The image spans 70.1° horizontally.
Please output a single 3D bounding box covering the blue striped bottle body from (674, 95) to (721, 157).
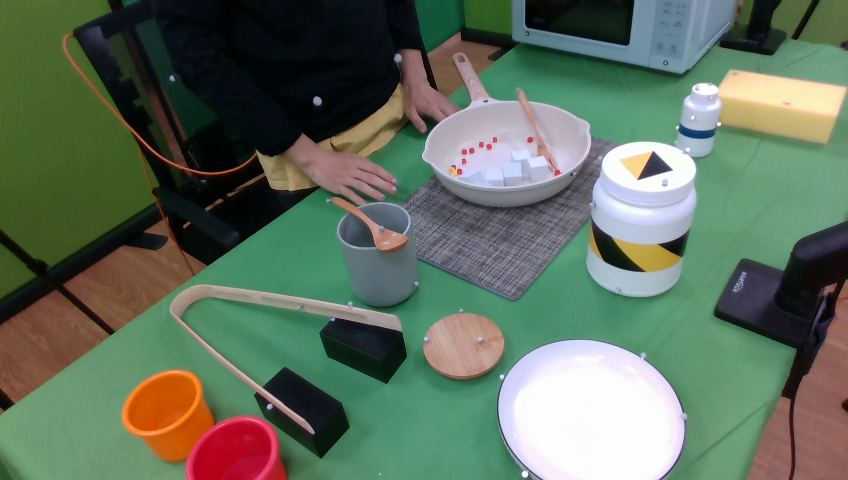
[{"bbox_3d":[0.486,-0.213,1.072,0.063,0.121,0.063,-4,41,4],"label":"blue striped bottle body"}]

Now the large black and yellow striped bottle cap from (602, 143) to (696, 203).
[{"bbox_3d":[0.289,-0.088,0.779,0.115,0.019,0.114,-5,39,4],"label":"large black and yellow striped bottle cap"}]

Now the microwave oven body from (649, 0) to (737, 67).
[{"bbox_3d":[0.475,-0.602,1.411,0.438,0.261,0.327,23,50,32],"label":"microwave oven body"}]

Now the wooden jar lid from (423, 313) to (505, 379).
[{"bbox_3d":[0.053,0.142,0.800,0.108,0.021,0.108,-4,39,4],"label":"wooden jar lid"}]

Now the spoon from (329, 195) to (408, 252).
[{"bbox_3d":[-0.082,-0.029,0.828,0.042,0.022,0.192,-32,43,-20],"label":"spoon"}]

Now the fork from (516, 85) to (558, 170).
[{"bbox_3d":[0.208,-0.213,1.134,0.028,0.019,0.206,-16,66,1],"label":"fork"}]

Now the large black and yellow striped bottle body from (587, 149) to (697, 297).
[{"bbox_3d":[0.298,-0.026,0.835,0.131,0.185,0.130,-4,41,4],"label":"large black and yellow striped bottle body"}]

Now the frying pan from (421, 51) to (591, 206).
[{"bbox_3d":[0.127,-0.233,1.154,0.307,0.103,0.484,-11,49,-5],"label":"frying pan"}]

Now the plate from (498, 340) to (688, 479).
[{"bbox_3d":[0.189,0.206,0.692,0.207,0.039,0.206,-4,40,4],"label":"plate"}]

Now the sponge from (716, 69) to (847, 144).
[{"bbox_3d":[0.663,-0.256,1.142,0.205,0.061,0.118,19,47,28],"label":"sponge"}]

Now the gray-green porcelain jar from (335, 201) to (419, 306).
[{"bbox_3d":[-0.064,0.024,0.872,0.106,0.127,0.105,-4,41,4],"label":"gray-green porcelain jar"}]

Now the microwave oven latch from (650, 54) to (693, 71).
[{"bbox_3d":[0.531,-0.386,1.301,0.078,0.029,0.030,26,51,33],"label":"microwave oven latch"}]

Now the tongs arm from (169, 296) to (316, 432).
[{"bbox_3d":[-0.248,0.148,0.775,0.384,0.028,0.028,21,56,44],"label":"tongs arm"}]

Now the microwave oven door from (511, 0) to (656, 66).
[{"bbox_3d":[0.351,-0.539,1.349,0.353,0.245,0.039,24,50,31],"label":"microwave oven door"}]

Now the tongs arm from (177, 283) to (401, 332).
[{"bbox_3d":[-0.199,0.096,0.823,0.382,0.027,0.051,7,44,34],"label":"tongs arm"}]

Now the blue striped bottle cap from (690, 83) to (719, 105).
[{"bbox_3d":[0.481,-0.251,1.038,0.044,0.021,0.044,-5,40,5],"label":"blue striped bottle cap"}]
